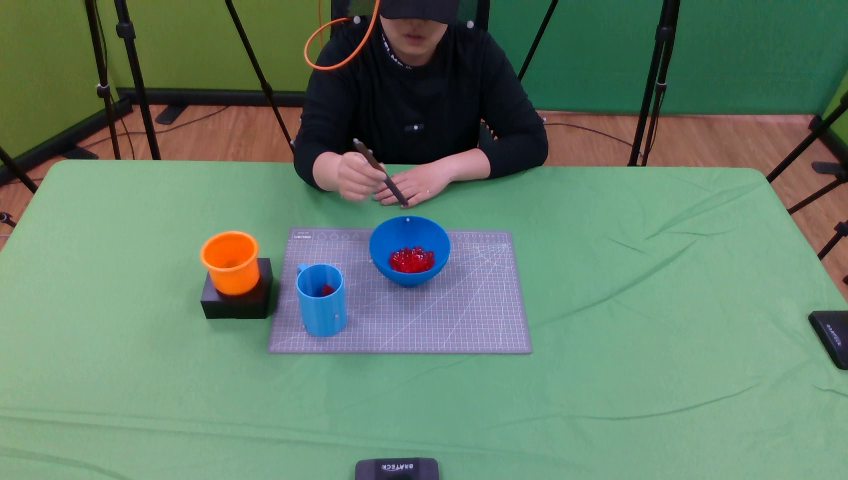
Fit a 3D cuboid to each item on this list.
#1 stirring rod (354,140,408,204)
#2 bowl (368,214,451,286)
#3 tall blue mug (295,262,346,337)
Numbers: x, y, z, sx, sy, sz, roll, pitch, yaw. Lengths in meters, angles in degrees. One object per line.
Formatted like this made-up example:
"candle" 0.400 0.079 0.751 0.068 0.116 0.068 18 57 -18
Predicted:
"stirring rod" -0.067 -0.107 0.992 0.014 0.177 0.006 -4 58 25
"bowl" -0.028 0.031 1.122 0.151 0.077 0.150 2 46 -2
"tall blue mug" -0.187 0.096 1.027 0.107 0.108 0.077 21 49 16
